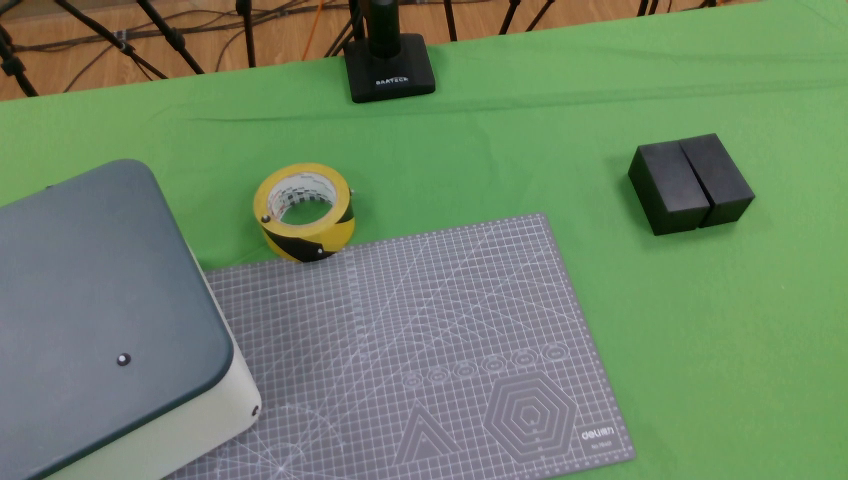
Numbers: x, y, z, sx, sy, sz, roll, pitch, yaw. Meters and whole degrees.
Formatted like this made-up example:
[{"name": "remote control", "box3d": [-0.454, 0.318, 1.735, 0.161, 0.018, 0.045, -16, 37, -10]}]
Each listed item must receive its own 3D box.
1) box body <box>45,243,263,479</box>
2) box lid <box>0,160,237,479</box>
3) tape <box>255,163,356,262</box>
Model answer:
[{"name": "box body", "box3d": [-0.363, 0.128, 0.554, 0.364, 0.162, 0.251, -28, 62, -15]}, {"name": "box lid", "box3d": [-0.362, 0.088, 0.491, 0.372, 0.015, 0.260, -27, 62, -15]}, {"name": "tape", "box3d": [-0.140, -0.034, 0.719, 0.117, 0.053, 0.115, 0, 55, 1]}]
